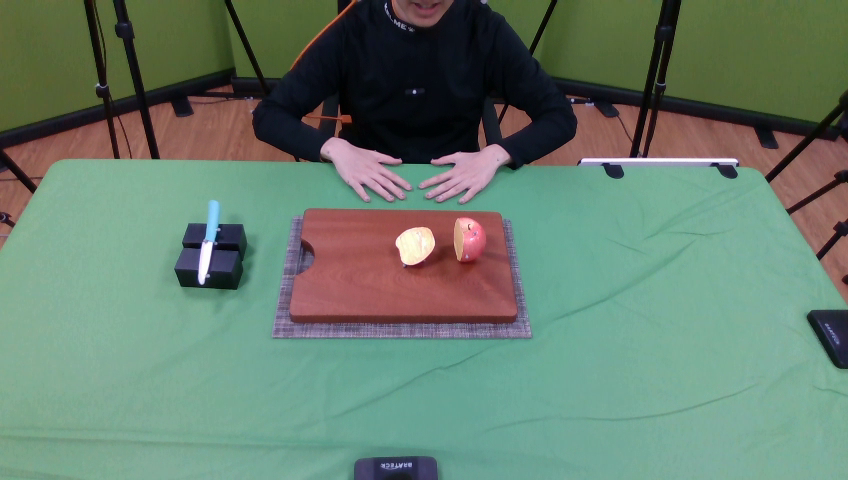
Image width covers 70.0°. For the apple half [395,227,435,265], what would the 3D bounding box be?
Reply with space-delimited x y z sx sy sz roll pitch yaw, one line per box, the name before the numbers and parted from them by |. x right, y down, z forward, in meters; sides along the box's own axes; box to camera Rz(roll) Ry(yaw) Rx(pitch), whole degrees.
apple half | -0.011 0.015 1.126 0.081 0.033 0.081 -9 58 15

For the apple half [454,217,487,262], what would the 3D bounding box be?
apple half | 0.088 0.000 1.126 0.053 0.075 0.080 -2 42 -11

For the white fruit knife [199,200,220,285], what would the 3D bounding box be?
white fruit knife | -0.391 0.001 1.104 0.027 0.016 0.206 -18 49 11
